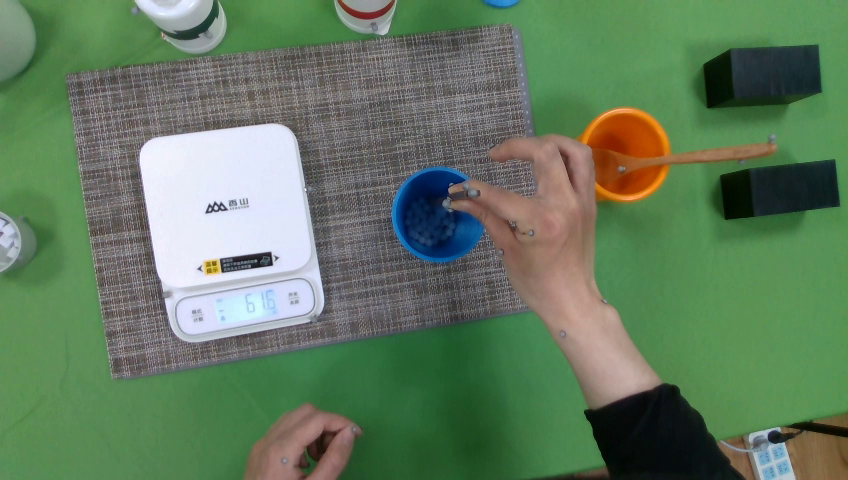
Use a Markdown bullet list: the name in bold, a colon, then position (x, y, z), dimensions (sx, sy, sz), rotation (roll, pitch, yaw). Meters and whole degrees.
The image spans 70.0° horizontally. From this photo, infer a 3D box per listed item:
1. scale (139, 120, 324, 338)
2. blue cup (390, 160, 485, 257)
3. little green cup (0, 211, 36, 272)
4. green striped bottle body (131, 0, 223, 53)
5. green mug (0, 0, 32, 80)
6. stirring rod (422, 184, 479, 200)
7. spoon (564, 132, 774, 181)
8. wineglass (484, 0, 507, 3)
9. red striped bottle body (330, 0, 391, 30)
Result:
- **scale**: position (-0.186, -0.011, 0.594), dimensions (0.149, 0.031, 0.201), rotation (-10, 91, -6)
- **blue cup**: position (0.008, -0.027, 0.582), dimensions (0.093, 0.100, 0.092), rotation (0, 90, -5)
- **little green cup**: position (-0.401, 0.002, 0.569), dimensions (0.062, 0.038, 0.061), rotation (0, 90, -8)
- **green striped bottle body**: position (-0.226, -0.219, 0.550), dimensions (0.063, 0.119, 0.063), rotation (0, 89, -7)
- **green mug**: position (-0.424, -0.179, 0.534), dimensions (0.093, 0.105, 0.125), rotation (26, 87, -6)
- **stirring rod**: position (0.018, -0.038, 0.499), dimensions (0.014, 0.175, 0.006), rotation (-4, 92, -9)
- **spoon**: position (0.229, -0.084, 0.589), dimensions (0.022, 0.192, 0.041), rotation (-12, 98, -50)
- **wineglass**: position (0.084, -0.286, 0.559), dimensions (0.074, 0.172, 0.073), rotation (0, 89, -6)
- **red striped bottle body**: position (-0.059, -0.248, 0.569), dimensions (0.063, 0.119, 0.063), rotation (0, 89, -7)
